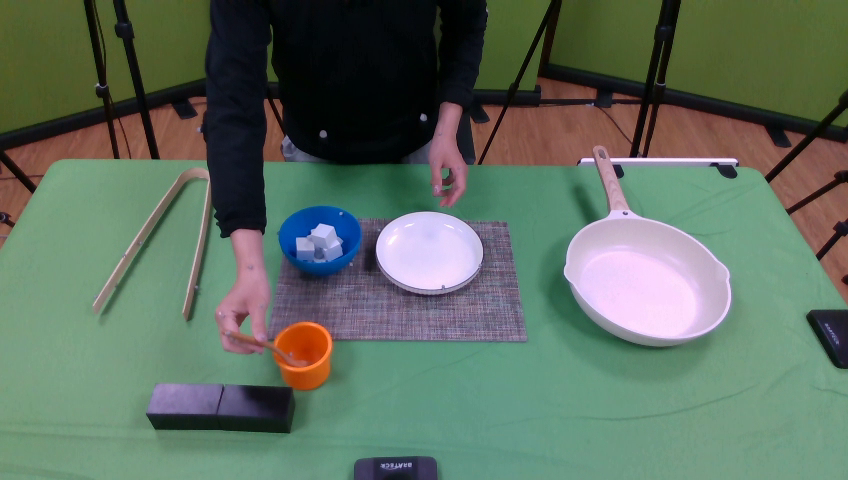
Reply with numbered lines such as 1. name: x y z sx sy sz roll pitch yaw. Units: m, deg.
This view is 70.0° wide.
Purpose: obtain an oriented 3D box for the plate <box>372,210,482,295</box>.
1. plate: 0.005 0.028 1.155 0.208 0.039 0.206 3 46 -2

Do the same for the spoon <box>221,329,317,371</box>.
1. spoon: -0.224 0.161 0.890 0.041 0.195 0.021 19 73 39

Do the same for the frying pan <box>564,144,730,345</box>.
1. frying pan: 0.396 -0.008 1.179 0.307 0.103 0.484 0 55 -5

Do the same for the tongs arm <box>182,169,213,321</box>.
1. tongs arm: -0.437 -0.005 1.166 0.028 0.028 0.385 -4 47 -6

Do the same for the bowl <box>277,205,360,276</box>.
1. bowl: -0.193 0.013 1.125 0.151 0.077 0.150 2 46 -2

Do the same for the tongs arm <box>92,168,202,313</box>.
1. tongs arm: -0.517 -0.012 1.160 0.051 0.026 0.382 7 45 1
